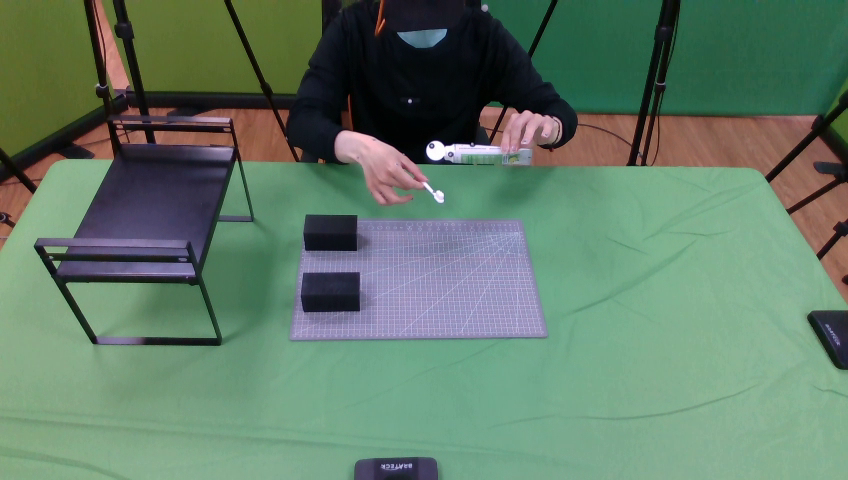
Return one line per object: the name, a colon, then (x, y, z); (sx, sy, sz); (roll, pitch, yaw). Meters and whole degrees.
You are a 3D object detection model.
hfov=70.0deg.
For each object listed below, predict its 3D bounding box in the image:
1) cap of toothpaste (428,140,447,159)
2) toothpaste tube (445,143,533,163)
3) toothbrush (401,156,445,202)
cap of toothpaste: (0.024, -0.164, 1.099); (0.037, 0.037, 0.011); (-5, 5, -9)
toothpaste tube: (0.114, -0.160, 1.110); (0.165, 0.055, 0.034); (3, 71, 5)
toothbrush: (-0.004, -0.122, 1.164); (0.014, 0.017, 0.180); (-12, 37, -23)
